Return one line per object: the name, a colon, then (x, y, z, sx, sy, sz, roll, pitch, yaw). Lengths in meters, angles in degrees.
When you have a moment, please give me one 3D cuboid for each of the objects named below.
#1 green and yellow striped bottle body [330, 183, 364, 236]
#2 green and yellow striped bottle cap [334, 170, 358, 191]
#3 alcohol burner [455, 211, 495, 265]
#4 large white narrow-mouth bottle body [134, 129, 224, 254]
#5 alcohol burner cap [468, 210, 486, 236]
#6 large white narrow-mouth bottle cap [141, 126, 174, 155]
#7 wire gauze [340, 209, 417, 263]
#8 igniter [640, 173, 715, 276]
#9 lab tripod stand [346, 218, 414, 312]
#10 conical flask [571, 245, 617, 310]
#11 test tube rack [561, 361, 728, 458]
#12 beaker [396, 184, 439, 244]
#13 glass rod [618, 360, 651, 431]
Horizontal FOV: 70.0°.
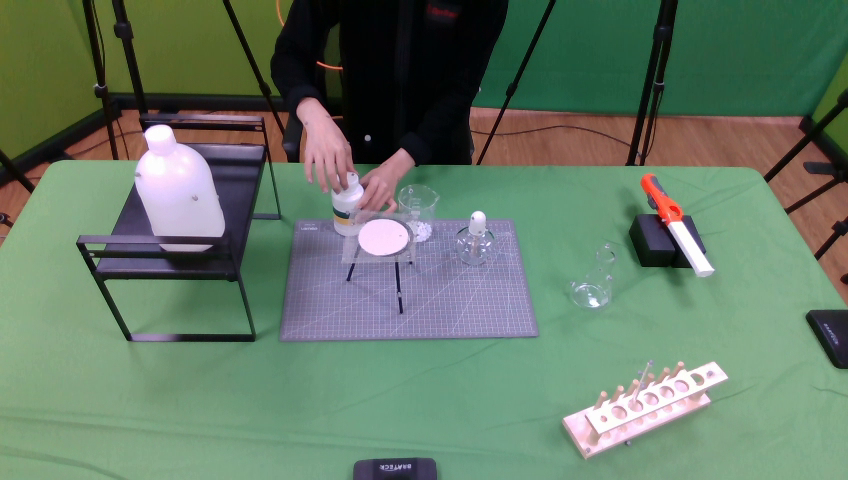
green and yellow striped bottle body: (-0.149, -0.070, 1.182, 0.063, 0.120, 0.063, 2, 46, -2)
green and yellow striped bottle cap: (-0.147, -0.112, 1.139, 0.045, 0.020, 0.045, 2, 40, -2)
alcohol burner: (0.097, -0.010, 1.147, 0.078, 0.120, 0.077, 1, 47, -1)
large white narrow-mouth bottle body: (-0.358, -0.075, 0.875, 0.102, 0.195, 0.101, 1, 48, -1)
alcohol burner cap: (0.100, -0.034, 1.119, 0.034, 0.048, 0.033, 0, 53, 0)
large white narrow-mouth bottle cap: (-0.356, -0.133, 0.811, 0.038, 0.024, 0.037, 2, 48, -1)
wire gauze: (-0.074, -0.007, 1.023, 0.121, 0.011, 0.124, 3, 46, 0)
igniter: (0.495, -0.039, 1.204, 0.057, 0.025, 0.274, -2, 47, -12)
lab tripod stand: (-0.070, 0.037, 1.075, 0.148, 0.132, 0.147, 1, 47, -1)
conical flask: (0.313, 0.064, 1.089, 0.075, 0.122, 0.075, 2, 46, -2)
test tube rack: (0.341, 0.248, 0.940, 0.243, 0.085, 0.066, -15, 49, -18)
beaker: (-0.014, -0.049, 1.186, 0.084, 0.101, 0.073, -8, 48, -13)
glass rod: (0.298, 0.227, 0.865, 0.008, 0.201, 0.008, -2, 48, 2)
